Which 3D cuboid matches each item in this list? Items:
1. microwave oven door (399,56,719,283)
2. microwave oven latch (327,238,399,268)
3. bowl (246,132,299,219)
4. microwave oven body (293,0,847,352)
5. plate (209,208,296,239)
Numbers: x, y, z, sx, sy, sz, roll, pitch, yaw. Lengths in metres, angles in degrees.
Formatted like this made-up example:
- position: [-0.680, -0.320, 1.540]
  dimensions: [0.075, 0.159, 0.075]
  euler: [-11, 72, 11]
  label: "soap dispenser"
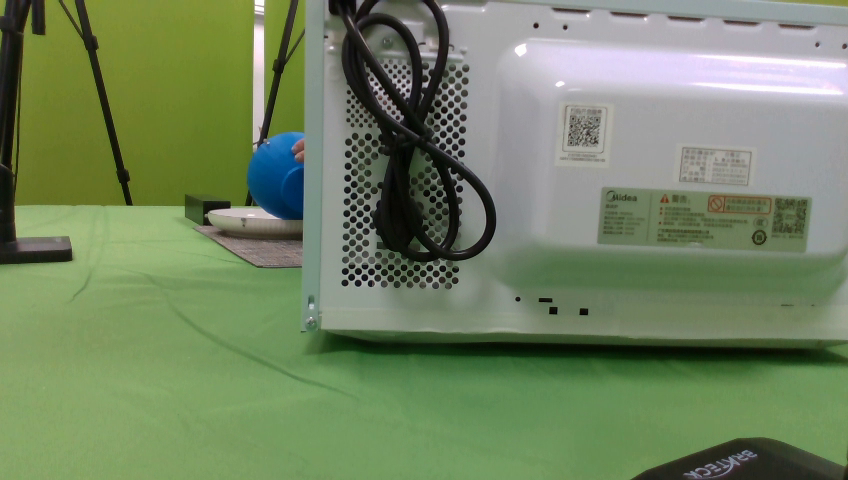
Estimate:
- position: [0.155, -0.078, 0.697]
  dimensions: [0.356, 0.243, 0.039]
  euler: [2, 8, -5]
  label: "microwave oven door"
- position: [-0.069, 0.015, 0.694]
  dimensions: [0.079, 0.029, 0.030]
  euler: [3, 7, -3]
  label: "microwave oven latch"
- position: [-0.203, -0.092, 0.977]
  dimensions: [0.152, 0.151, 0.076]
  euler: [-1, 23, -27]
  label: "bowl"
- position: [0.122, -0.055, 0.550]
  dimensions: [0.442, 0.260, 0.325]
  euler: [3, 7, -5]
  label: "microwave oven body"
- position: [-0.271, -0.029, 1.074]
  dimensions: [0.208, 0.039, 0.207]
  euler: [2, 7, 0]
  label: "plate"
